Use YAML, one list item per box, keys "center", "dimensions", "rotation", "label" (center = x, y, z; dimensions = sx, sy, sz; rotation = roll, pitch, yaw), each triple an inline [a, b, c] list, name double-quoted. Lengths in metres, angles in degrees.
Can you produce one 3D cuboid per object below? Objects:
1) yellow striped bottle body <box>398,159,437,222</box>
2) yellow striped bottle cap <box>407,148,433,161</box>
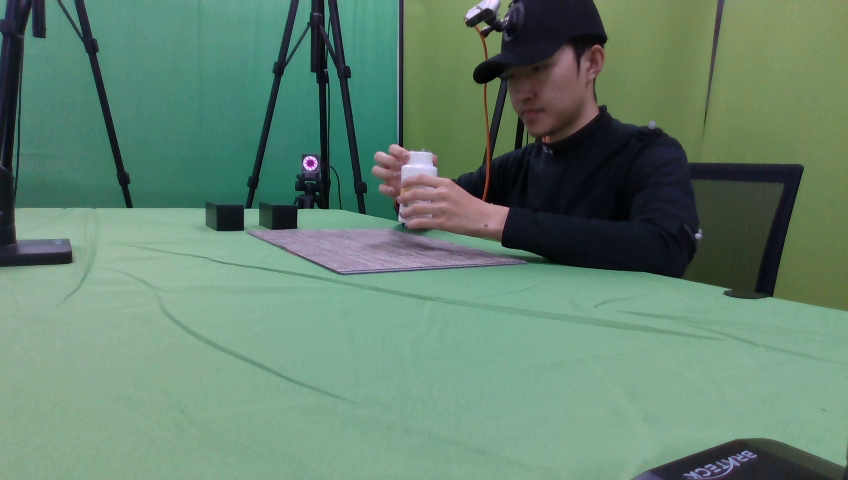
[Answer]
- center: [-0.010, -0.092, 1.028]
  dimensions: [0.063, 0.120, 0.063]
  rotation: [3, 3, 0]
  label: "yellow striped bottle body"
- center: [-0.007, -0.143, 1.022]
  dimensions: [0.044, 0.018, 0.044]
  rotation: [0, 1, 0]
  label: "yellow striped bottle cap"
